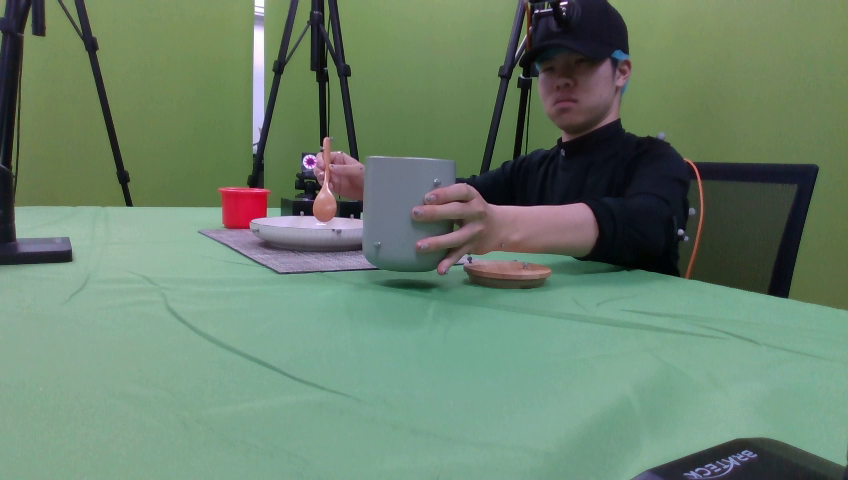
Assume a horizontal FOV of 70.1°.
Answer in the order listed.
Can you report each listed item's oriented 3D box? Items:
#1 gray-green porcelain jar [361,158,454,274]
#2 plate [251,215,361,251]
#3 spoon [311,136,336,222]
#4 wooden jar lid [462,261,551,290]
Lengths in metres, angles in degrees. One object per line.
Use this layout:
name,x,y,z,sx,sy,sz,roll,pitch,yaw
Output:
gray-green porcelain jar,-0.019,-0.029,0.693,0.106,0.126,0.106,2,6,0
plate,-0.170,-0.012,0.971,0.208,0.039,0.207,2,7,0
spoon,-0.171,-0.109,1.040,0.041,0.022,0.193,-12,49,8
wooden jar lid,0.100,0.043,0.742,0.108,0.020,0.108,2,6,0
